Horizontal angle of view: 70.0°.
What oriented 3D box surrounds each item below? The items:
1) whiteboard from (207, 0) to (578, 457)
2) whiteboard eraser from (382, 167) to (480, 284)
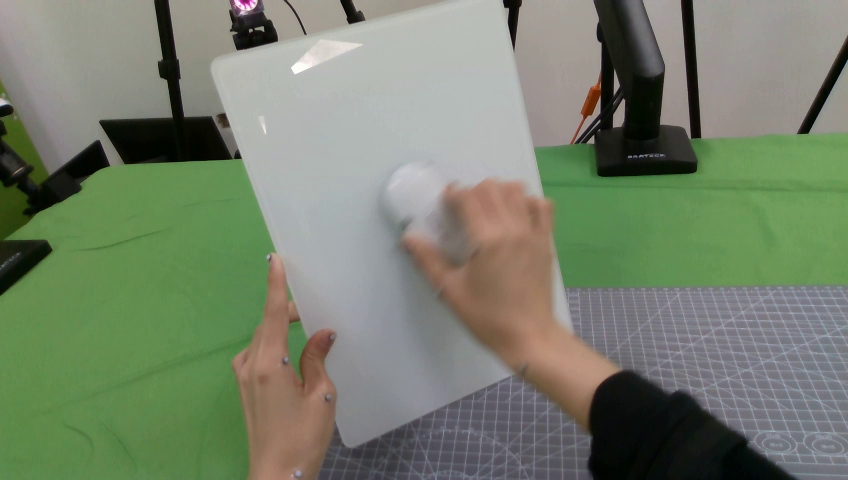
[{"bbox_3d":[-0.025,-0.020,0.521,0.217,0.307,0.143,-20,16,-15],"label":"whiteboard"},{"bbox_3d":[0.006,-0.010,0.454,0.041,0.102,0.018,-41,23,-12],"label":"whiteboard eraser"}]
